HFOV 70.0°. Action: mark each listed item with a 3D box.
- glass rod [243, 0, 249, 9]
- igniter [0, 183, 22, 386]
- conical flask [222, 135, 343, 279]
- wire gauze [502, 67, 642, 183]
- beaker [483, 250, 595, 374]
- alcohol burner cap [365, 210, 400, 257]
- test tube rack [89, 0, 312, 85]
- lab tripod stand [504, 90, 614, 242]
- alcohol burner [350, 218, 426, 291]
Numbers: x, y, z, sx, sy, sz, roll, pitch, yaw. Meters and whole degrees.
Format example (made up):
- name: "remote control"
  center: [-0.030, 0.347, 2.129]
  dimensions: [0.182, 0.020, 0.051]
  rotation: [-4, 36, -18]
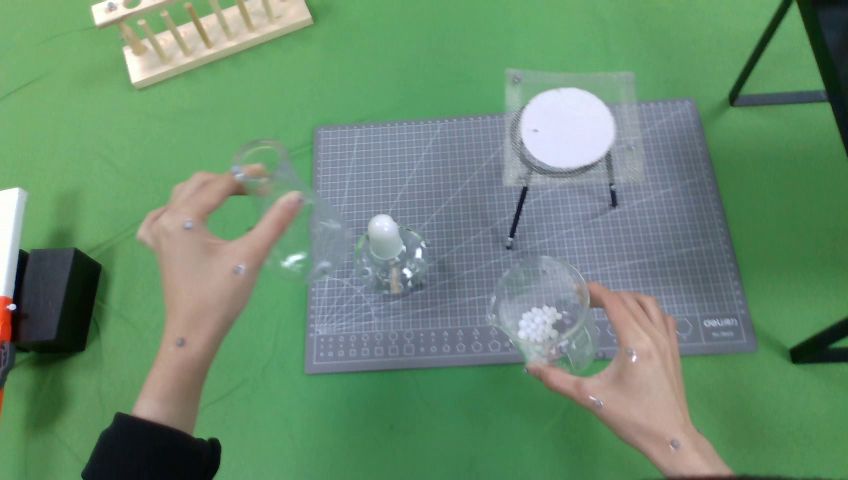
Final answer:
- name: "glass rod"
  center: [-0.232, -0.348, 0.709]
  dimensions: [0.008, 0.201, 0.008]
  rotation: [0, 65, 0]
- name: "igniter"
  center: [-0.435, 0.067, 0.605]
  dimensions: [0.057, 0.025, 0.274]
  rotation: [-12, 66, 4]
- name: "conical flask"
  center: [-0.111, -0.027, 0.461]
  dimensions: [0.075, 0.123, 0.074]
  rotation: [-3, 60, 6]
- name: "wire gauze"
  center: [0.133, -0.107, 0.551]
  dimensions: [0.121, 0.011, 0.124]
  rotation: [2, 68, 4]
- name: "beaker"
  center: [0.099, 0.066, 0.501]
  dimensions: [0.084, 0.101, 0.073]
  rotation: [-21, 56, 10]
- name: "alcohol burner cap"
  center: [-0.041, -0.009, 0.568]
  dimensions: [0.034, 0.048, 0.033]
  rotation: [0, 60, 1]
- name: "test tube rack"
  center: [-0.274, -0.287, 0.759]
  dimensions: [0.242, 0.086, 0.066]
  rotation: [-22, 67, -5]
- name: "lab tripod stand"
  center: [0.130, -0.076, 0.612]
  dimensions: [0.148, 0.132, 0.147]
  rotation: [-1, 66, 3]
- name: "alcohol burner"
  center: [-0.037, 0.007, 0.601]
  dimensions: [0.078, 0.120, 0.077]
  rotation: [-1, 66, 3]
